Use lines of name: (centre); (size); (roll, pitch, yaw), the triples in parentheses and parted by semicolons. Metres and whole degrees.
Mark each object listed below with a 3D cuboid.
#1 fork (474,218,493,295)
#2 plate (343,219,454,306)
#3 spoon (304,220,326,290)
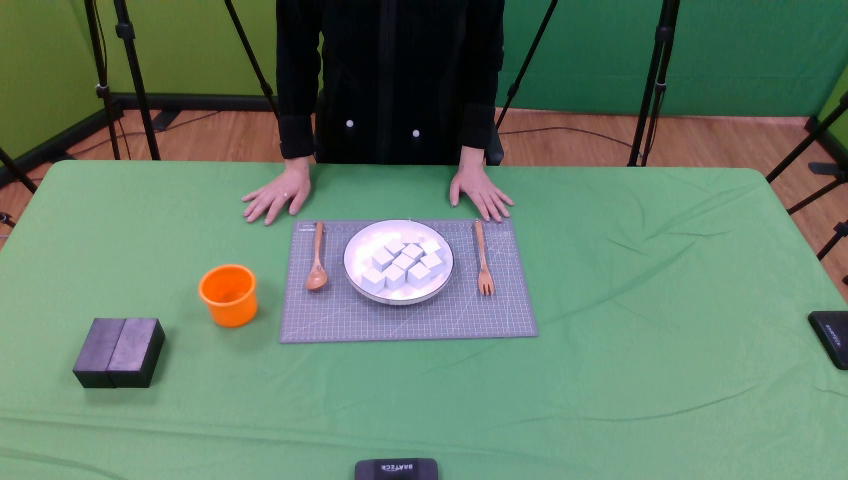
fork: (0.112, 0.029, 1.177); (0.028, 0.019, 0.206); (-3, 48, 0)
plate: (-0.047, 0.045, 1.136); (0.208, 0.039, 0.206); (2, 46, -2)
spoon: (-0.205, 0.024, 1.153); (0.041, 0.022, 0.192); (-14, 46, 8)
